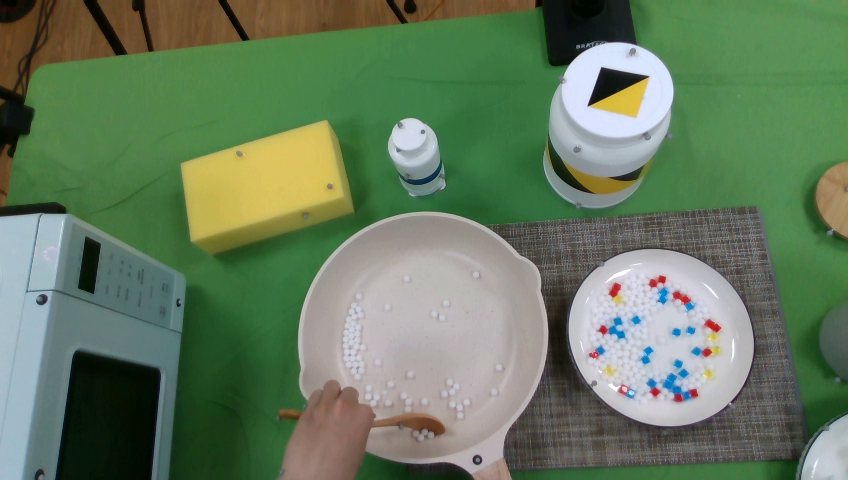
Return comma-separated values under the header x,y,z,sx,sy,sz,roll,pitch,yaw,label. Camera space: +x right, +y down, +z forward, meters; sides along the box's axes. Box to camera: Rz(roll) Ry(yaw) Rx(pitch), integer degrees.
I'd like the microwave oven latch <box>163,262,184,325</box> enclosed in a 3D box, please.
x,y,z,sx,sy,sz,roll,pitch,yaw,label
-0.330,0.069,0.781,0.030,0.030,0.078,-2,73,6,microwave oven latch

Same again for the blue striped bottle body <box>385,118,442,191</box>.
x,y,z,sx,sy,sz,roll,pitch,yaw,label
-0.013,-0.112,0.774,0.063,0.121,0.062,-2,73,7,blue striped bottle body

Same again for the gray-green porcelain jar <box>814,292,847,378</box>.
x,y,z,sx,sy,sz,roll,pitch,yaw,label
0.493,0.097,0.644,0.106,0.127,0.105,-2,72,7,gray-green porcelain jar

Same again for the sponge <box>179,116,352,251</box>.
x,y,z,sx,sy,sz,roll,pitch,yaw,label
-0.213,-0.075,0.818,0.207,0.061,0.117,-17,72,1,sponge

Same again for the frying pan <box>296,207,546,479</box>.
x,y,z,sx,sy,sz,roll,pitch,yaw,label
0.039,0.190,0.680,0.307,0.103,0.483,-26,64,0,frying pan

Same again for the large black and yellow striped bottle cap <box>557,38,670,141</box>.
x,y,z,sx,sy,sz,roll,pitch,yaw,label
0.200,-0.160,0.640,0.115,0.019,0.114,-2,74,6,large black and yellow striped bottle cap

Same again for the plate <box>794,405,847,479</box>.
x,y,z,sx,sy,sz,roll,pitch,yaw,label
0.497,0.273,0.637,0.207,0.039,0.206,-2,73,7,plate

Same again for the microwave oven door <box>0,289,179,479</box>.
x,y,z,sx,sy,sz,roll,pitch,yaw,label
-0.340,0.248,0.621,0.039,0.245,0.353,-4,72,6,microwave oven door

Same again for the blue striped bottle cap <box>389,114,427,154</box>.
x,y,z,sx,sy,sz,roll,pitch,yaw,label
-0.020,-0.127,0.725,0.044,0.021,0.044,-3,70,8,blue striped bottle cap

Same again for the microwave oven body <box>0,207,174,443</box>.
x,y,z,sx,sy,sz,roll,pitch,yaw,label
-0.485,0.218,0.653,0.326,0.262,0.439,-4,73,6,microwave oven body

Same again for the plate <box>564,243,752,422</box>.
x,y,z,sx,sy,sz,roll,pitch,yaw,label
0.269,0.106,0.712,0.209,0.038,0.208,-2,73,7,plate

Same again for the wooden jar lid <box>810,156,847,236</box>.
x,y,z,sx,sy,sz,roll,pitch,yaw,label
0.530,-0.051,0.741,0.108,0.021,0.108,-2,74,7,wooden jar lid

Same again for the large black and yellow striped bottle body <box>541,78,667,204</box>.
x,y,z,sx,sy,sz,roll,pitch,yaw,label
0.209,-0.133,0.720,0.130,0.185,0.130,-2,72,7,large black and yellow striped bottle body

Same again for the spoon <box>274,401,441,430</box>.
x,y,z,sx,sy,sz,roll,pitch,yaw,label
-0.070,0.195,0.675,0.195,0.042,0.021,11,51,-25,spoon
